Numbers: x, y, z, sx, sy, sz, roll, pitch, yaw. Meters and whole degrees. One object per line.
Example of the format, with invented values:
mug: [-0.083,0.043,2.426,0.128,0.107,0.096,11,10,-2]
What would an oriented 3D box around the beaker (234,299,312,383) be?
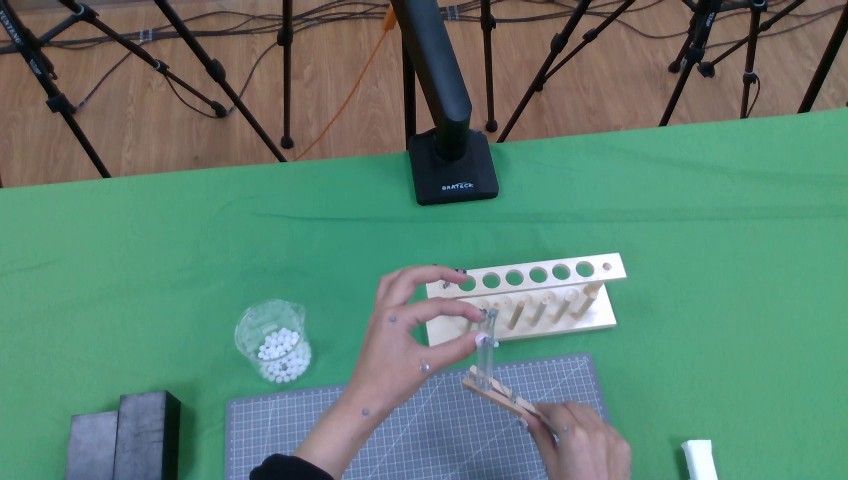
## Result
beaker: [-0.170,0.121,0.712,0.084,0.101,0.073,-38,69,-21]

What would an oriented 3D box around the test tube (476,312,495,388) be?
test tube: [0.058,0.109,0.580,0.017,0.151,0.017,-2,56,3]

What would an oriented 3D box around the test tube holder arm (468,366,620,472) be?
test tube holder arm: [0.121,0.183,0.628,0.177,0.015,0.013,29,67,23]

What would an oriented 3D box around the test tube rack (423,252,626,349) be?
test tube rack: [0.123,0.077,0.755,0.243,0.086,0.066,-6,62,-6]

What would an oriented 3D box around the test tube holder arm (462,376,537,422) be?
test tube holder arm: [0.080,0.169,0.642,0.087,0.015,0.010,22,64,20]

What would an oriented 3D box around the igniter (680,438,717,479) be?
igniter: [0.320,0.353,0.644,0.057,0.025,0.274,4,61,-11]
